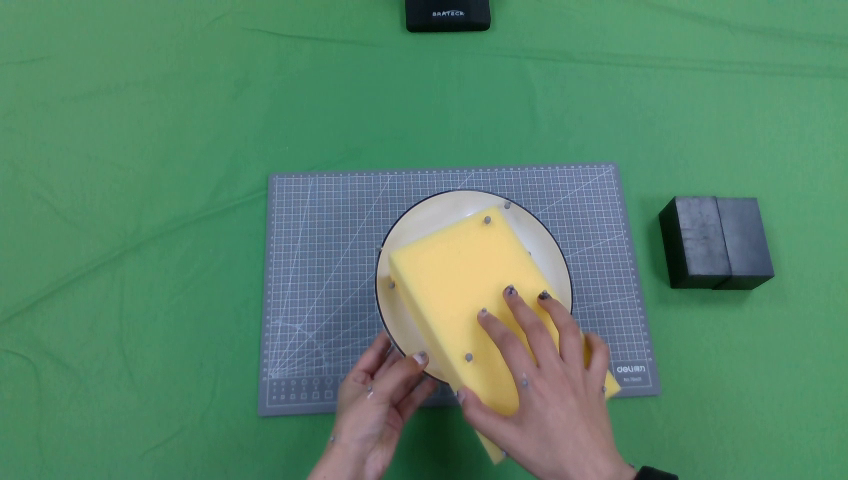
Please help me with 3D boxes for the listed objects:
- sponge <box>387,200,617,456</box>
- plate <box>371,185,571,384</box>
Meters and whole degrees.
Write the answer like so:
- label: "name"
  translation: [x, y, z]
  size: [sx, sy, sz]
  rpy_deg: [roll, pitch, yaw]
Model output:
- label: "sponge"
  translation: [0.064, 0.076, 0.563]
  size: [0.118, 0.061, 0.205]
  rpy_deg: [-26, 67, -15]
- label: "plate"
  translation: [0.048, 0.047, 0.620]
  size: [0.210, 0.038, 0.208]
  rpy_deg: [4, 73, -13]
